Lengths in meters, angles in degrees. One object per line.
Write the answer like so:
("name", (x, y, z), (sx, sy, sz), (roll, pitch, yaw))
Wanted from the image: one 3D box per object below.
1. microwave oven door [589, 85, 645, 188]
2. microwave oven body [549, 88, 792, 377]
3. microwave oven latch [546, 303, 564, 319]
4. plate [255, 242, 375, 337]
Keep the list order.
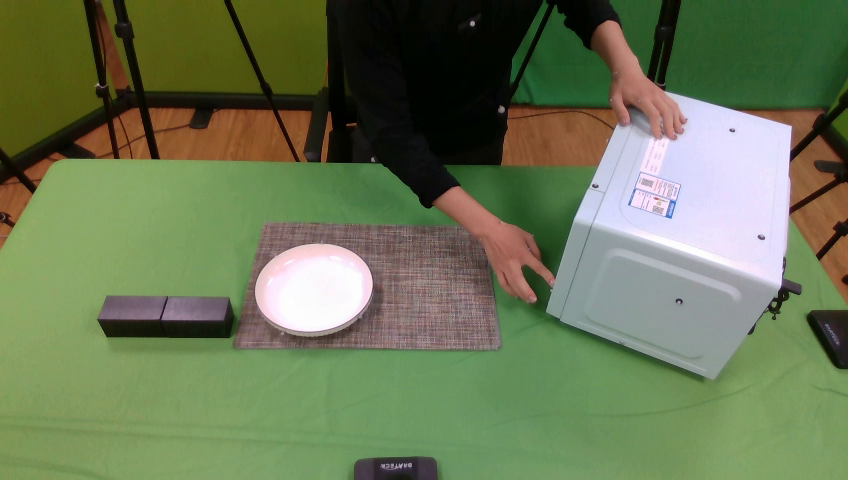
("microwave oven door", (0.342, -0.107, 1.149), (0.039, 0.245, 0.354), (20, 48, 15))
("microwave oven body", (0.456, -0.028, 1.088), (0.325, 0.261, 0.440), (20, 47, 16))
("microwave oven latch", (0.242, 0.102, 1.081), (0.030, 0.029, 0.079), (22, 48, 17))
("plate", (-0.192, 0.090, 1.079), (0.208, 0.039, 0.206), (2, 46, -2))
